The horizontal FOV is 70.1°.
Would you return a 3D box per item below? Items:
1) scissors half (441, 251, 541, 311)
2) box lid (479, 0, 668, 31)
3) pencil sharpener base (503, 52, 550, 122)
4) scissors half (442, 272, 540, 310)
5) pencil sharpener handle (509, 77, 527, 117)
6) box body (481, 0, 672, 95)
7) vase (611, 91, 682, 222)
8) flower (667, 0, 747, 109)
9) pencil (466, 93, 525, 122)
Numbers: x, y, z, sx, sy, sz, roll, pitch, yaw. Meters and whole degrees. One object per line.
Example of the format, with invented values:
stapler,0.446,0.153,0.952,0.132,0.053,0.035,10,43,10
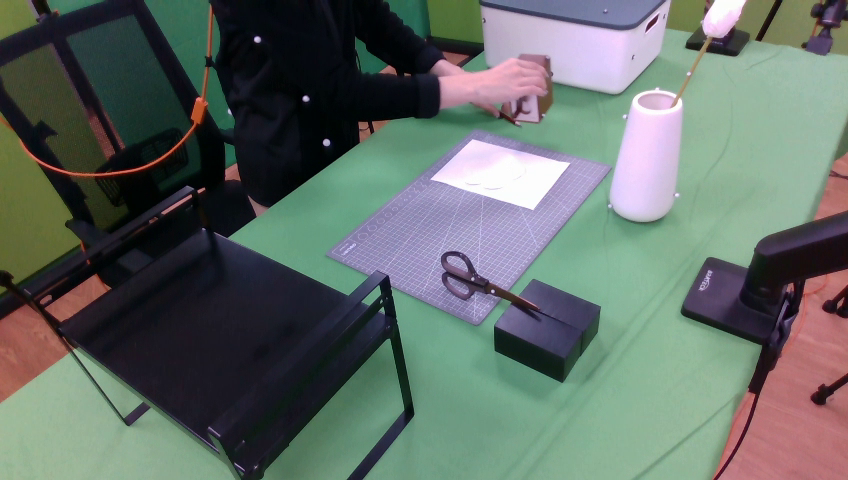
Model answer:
scissors half,0.087,0.056,0.824,0.173,0.040,0.013,29,44,36
box lid,0.335,-0.536,1.331,0.368,0.015,0.264,23,49,30
pencil sharpener base,0.191,-0.281,1.121,0.061,0.107,0.077,13,51,27
scissors half,0.089,0.074,0.832,0.013,0.040,0.173,-24,23,-38
pencil sharpener handle,0.163,-0.255,1.085,0.036,0.068,0.030,16,52,24
box body,0.341,-0.480,1.381,0.361,0.161,0.255,22,48,30
vase,0.348,-0.125,0.935,0.098,0.201,0.097,-3,40,3
flower,0.354,-0.187,0.879,0.038,0.362,0.044,30,48,14
pencil,0.152,-0.285,1.295,0.012,0.012,0.192,-27,41,-22
